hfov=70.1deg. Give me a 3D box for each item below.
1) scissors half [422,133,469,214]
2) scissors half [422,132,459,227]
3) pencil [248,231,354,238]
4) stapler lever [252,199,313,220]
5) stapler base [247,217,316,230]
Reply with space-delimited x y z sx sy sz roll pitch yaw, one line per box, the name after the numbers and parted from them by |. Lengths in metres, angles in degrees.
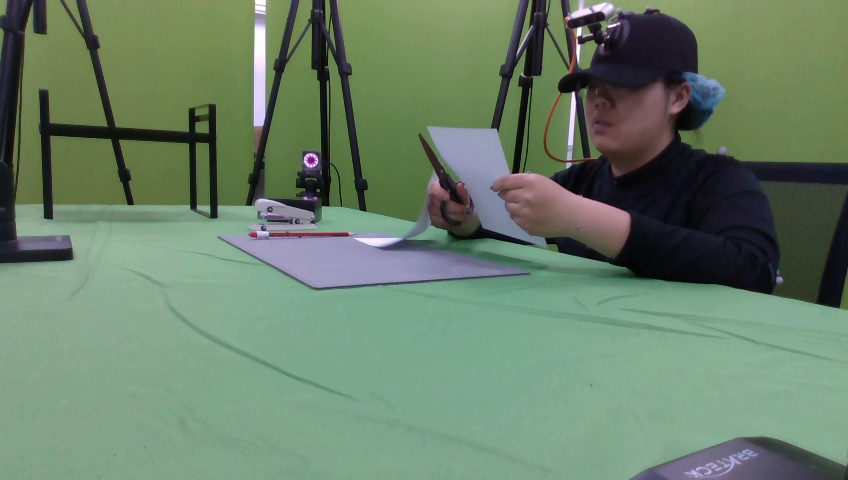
0.034 -0.106 0.974 0.012 0.040 0.176 12 -30 39 | scissors half
0.023 -0.092 0.964 0.013 0.175 0.040 6 38 36 | scissors half
-0.206 -0.008 1.039 0.195 0.012 0.012 0 7 -36 | pencil
-0.273 -0.058 1.170 0.119 0.040 0.026 0 10 -37 | stapler lever
-0.276 -0.033 1.172 0.131 0.024 0.041 0 10 -37 | stapler base
